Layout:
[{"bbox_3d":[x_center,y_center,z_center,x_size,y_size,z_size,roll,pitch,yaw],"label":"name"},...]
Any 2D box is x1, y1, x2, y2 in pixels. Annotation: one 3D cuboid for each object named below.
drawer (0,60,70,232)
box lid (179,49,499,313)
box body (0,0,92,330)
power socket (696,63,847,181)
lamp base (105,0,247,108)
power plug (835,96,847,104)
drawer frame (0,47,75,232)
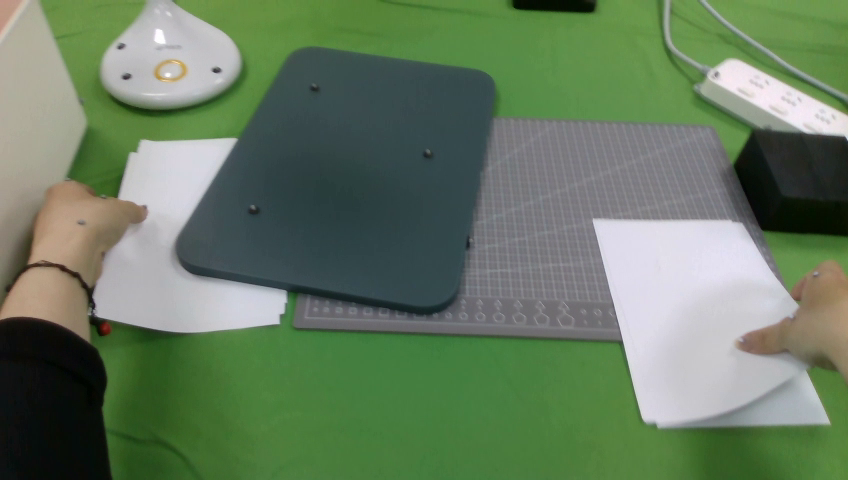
[{"bbox_3d":[-0.448,-0.093,0.524,0.195,0.074,0.209,8,40,-15],"label":"drawer"},{"bbox_3d":[-0.068,-0.088,0.647,0.263,0.015,0.368,10,49,5],"label":"box lid"},{"bbox_3d":[-0.462,-0.052,0.490,0.254,0.162,0.360,-1,50,-5],"label":"box body"},{"bbox_3d":[0.436,-0.142,0.714,0.072,0.033,0.224,-32,58,-28],"label":"power socket"},{"bbox_3d":[-0.297,-0.269,0.674,0.161,0.182,0.177,-17,50,-17],"label":"lamp base"},{"bbox_3d":[0.532,-0.155,0.742,0.053,0.035,0.072,-23,21,-27],"label":"power plug"},{"bbox_3d":[-0.449,-0.096,0.524,0.202,0.083,0.211,8,39,-14],"label":"drawer frame"}]
